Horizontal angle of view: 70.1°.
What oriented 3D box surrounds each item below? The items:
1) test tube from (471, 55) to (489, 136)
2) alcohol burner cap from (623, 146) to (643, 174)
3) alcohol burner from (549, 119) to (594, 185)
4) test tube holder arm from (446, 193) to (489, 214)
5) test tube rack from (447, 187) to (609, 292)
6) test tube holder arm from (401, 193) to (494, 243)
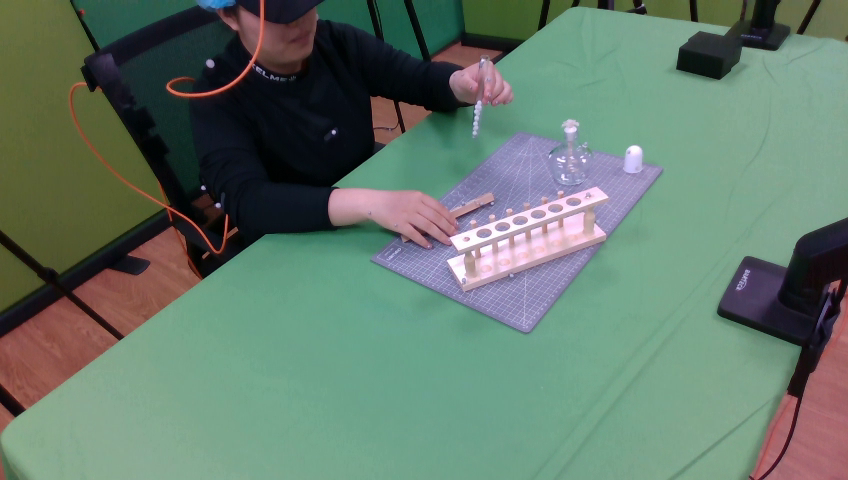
[{"bbox_3d":[0.095,-0.241,1.026,0.017,0.150,0.017,2,44,-2],"label":"test tube"},{"bbox_3d":[0.369,-0.142,1.062,0.034,0.048,0.033,-7,40,6],"label":"alcohol burner cap"},{"bbox_3d":[0.254,-0.155,1.043,0.078,0.120,0.077,-7,40,6],"label":"alcohol burner"},{"bbox_3d":[0.079,-0.058,1.038,0.088,0.015,0.010,-26,10,-18],"label":"test tube holder arm"},{"bbox_3d":[0.155,-0.011,0.913,0.243,0.085,0.066,-19,41,-11],"label":"test tube rack"},{"bbox_3d":[0.042,-0.038,1.018,0.179,0.015,0.013,-26,10,-18],"label":"test tube holder arm"}]
